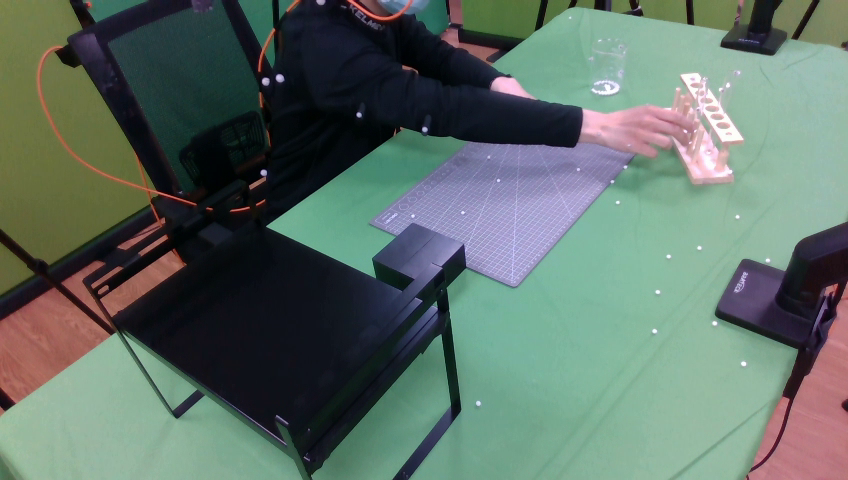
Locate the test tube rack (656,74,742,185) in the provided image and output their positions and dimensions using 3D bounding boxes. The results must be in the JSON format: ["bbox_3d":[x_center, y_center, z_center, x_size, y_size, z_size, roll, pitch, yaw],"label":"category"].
[{"bbox_3d":[0.488,-0.205,1.093,0.067,0.085,0.241,-3,41,5],"label":"test tube rack"}]

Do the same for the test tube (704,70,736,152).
[{"bbox_3d":[0.502,-0.216,1.028,0.017,0.151,0.017,-2,40,2],"label":"test tube"}]

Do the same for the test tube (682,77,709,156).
[{"bbox_3d":[0.463,-0.209,1.032,0.017,0.151,0.017,-4,43,4],"label":"test tube"}]

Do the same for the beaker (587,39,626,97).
[{"bbox_3d":[0.386,-0.361,1.280,0.074,0.101,0.083,-22,43,-15],"label":"beaker"}]
